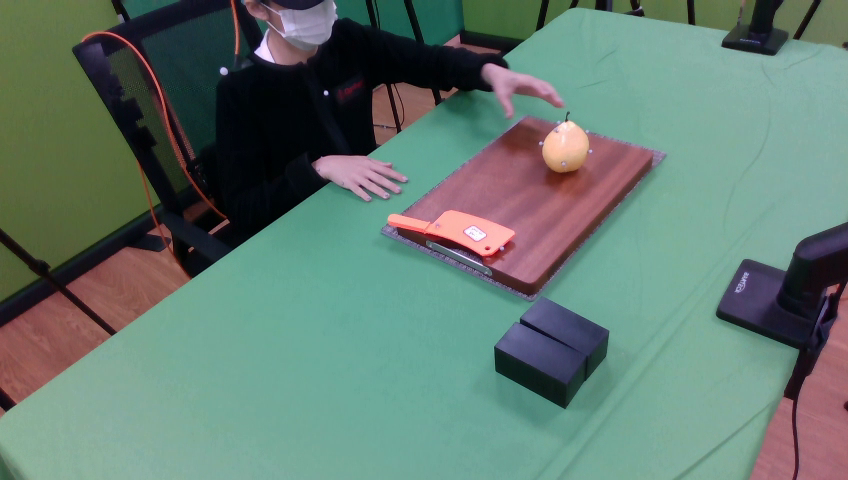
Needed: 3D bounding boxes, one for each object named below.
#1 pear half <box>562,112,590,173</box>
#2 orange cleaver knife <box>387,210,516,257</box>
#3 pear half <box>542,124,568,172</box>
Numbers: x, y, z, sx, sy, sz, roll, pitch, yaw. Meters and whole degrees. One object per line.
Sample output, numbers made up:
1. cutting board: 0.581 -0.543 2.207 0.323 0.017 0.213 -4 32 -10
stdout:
1. pear half: 0.252 -0.172 1.027 0.056 0.110 0.075 -18 46 -11
2. orange cleaver knife: 0.041 -0.020 0.953 0.210 0.012 0.077 16 48 29
3. pear half: 0.220 -0.155 1.028 0.031 0.088 0.070 -18 46 -12
